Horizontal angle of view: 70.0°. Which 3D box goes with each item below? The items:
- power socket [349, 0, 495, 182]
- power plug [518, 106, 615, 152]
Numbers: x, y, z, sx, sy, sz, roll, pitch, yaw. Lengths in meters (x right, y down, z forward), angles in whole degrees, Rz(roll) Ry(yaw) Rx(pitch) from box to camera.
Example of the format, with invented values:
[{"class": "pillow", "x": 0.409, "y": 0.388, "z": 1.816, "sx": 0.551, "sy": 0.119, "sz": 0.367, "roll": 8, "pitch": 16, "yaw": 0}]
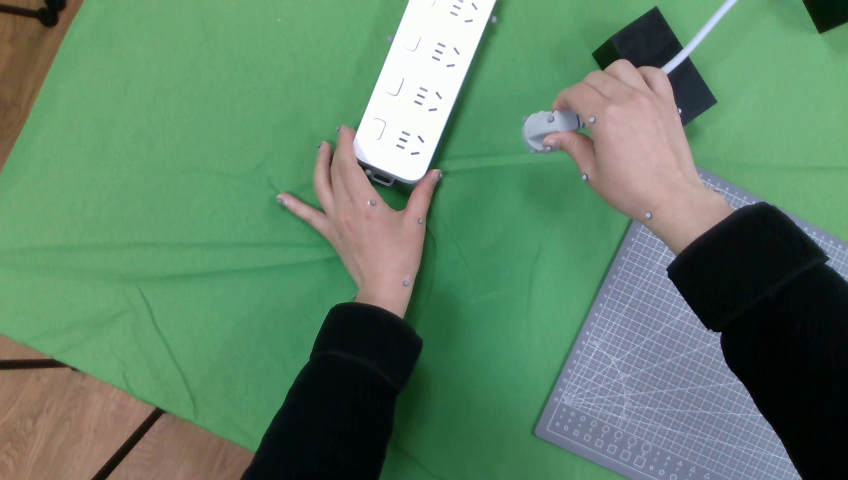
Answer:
[{"class": "power socket", "x": 0.002, "y": -0.160, "z": 0.546, "sx": 0.072, "sy": 0.032, "sz": 0.226, "roll": 23, "pitch": 90, "yaw": -6}, {"class": "power plug", "x": 0.114, "y": -0.089, "z": 0.500, "sx": 0.073, "sy": 0.052, "sz": 0.035, "roll": 6, "pitch": 81, "yaw": -8}]
